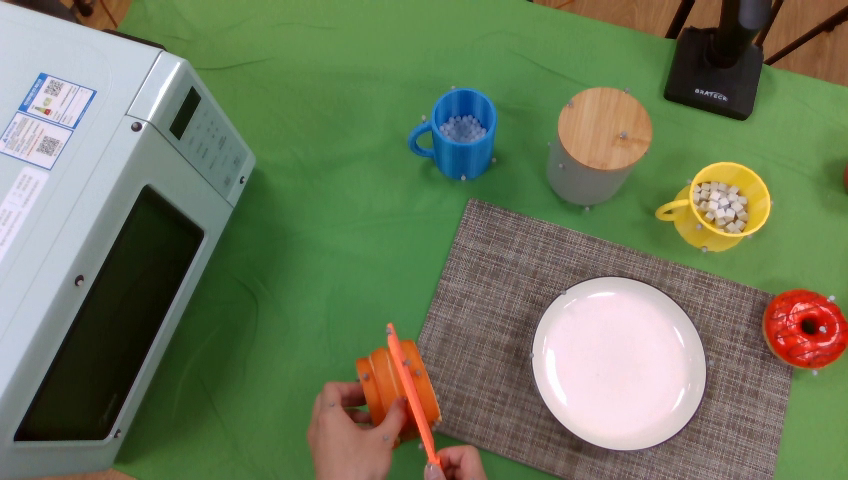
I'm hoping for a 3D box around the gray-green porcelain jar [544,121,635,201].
[{"bbox_3d":[0.211,-0.114,0.773,0.106,0.127,0.105,-1,73,2],"label":"gray-green porcelain jar"}]

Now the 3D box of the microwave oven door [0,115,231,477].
[{"bbox_3d":[-0.338,0.071,0.658,0.039,0.245,0.354,18,75,8],"label":"microwave oven door"}]

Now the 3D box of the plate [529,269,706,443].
[{"bbox_3d":[0.231,0.139,0.740,0.207,0.039,0.206,-1,74,2],"label":"plate"}]

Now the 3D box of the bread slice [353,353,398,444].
[{"bbox_3d":[-0.055,0.177,0.694,0.018,0.135,0.106,-20,70,-6],"label":"bread slice"}]

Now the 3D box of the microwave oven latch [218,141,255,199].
[{"bbox_3d":[-0.256,-0.097,0.810,0.030,0.029,0.079,22,76,8],"label":"microwave oven latch"}]

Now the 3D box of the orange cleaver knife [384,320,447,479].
[{"bbox_3d":[-0.003,0.180,0.601,0.012,0.077,0.211,-20,88,-3],"label":"orange cleaver knife"}]

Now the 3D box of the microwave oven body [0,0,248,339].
[{"bbox_3d":[-0.459,-0.011,0.692,0.325,0.261,0.440,19,76,7],"label":"microwave oven body"}]

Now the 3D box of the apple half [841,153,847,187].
[{"bbox_3d":[0.561,-0.087,0.778,0.033,0.081,0.081,-13,73,-6],"label":"apple half"}]

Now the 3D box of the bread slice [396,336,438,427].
[{"bbox_3d":[-0.009,0.162,0.694,0.019,0.132,0.104,-18,73,-8],"label":"bread slice"}]

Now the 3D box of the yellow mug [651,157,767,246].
[{"bbox_3d":[0.360,-0.047,0.780,0.131,0.064,0.099,-5,74,2],"label":"yellow mug"}]

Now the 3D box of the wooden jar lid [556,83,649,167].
[{"bbox_3d":[0.208,-0.133,0.714,0.108,0.021,0.107,-1,71,2],"label":"wooden jar lid"}]

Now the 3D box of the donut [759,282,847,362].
[{"bbox_3d":[0.461,0.100,0.740,0.099,0.048,0.098,-1,74,2],"label":"donut"}]

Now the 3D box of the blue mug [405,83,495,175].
[{"bbox_3d":[0.032,-0.141,0.798,0.116,0.106,0.082,-7,73,0],"label":"blue mug"}]
